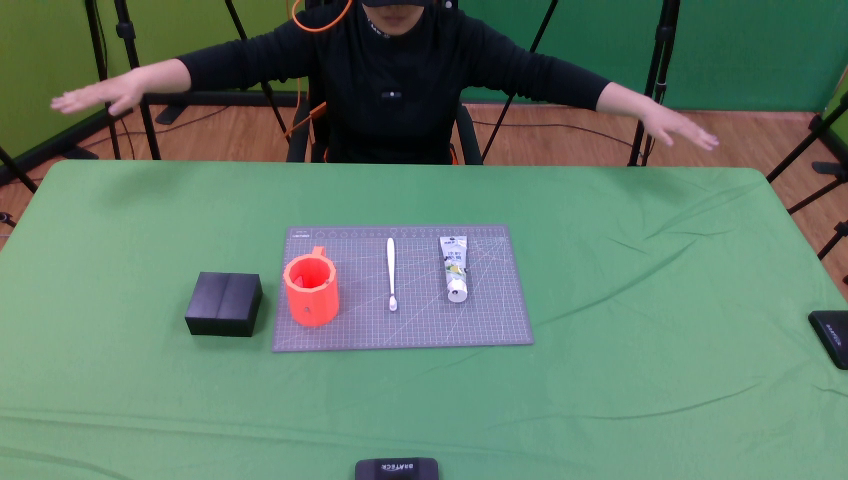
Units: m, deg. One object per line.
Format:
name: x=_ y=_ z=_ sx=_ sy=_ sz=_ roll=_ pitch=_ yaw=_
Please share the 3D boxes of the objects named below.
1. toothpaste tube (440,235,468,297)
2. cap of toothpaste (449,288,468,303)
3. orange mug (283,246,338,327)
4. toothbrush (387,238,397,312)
toothpaste tube: x=0.062 y=0.046 z=1.150 sx=0.055 sy=0.035 sz=0.164 roll=3 pitch=43 yaw=-6
cap of toothpaste: x=0.062 y=0.098 z=1.093 sx=0.037 sy=0.037 sz=0.011 roll=1 pitch=43 yaw=-2
orange mug: x=-0.193 y=0.074 z=1.056 sx=0.083 sy=0.101 sz=0.125 roll=5 pitch=50 yaw=1
toothbrush: x=-0.061 y=0.059 z=1.136 sx=0.014 sy=0.017 sz=0.180 roll=-10 pitch=45 yaw=5
